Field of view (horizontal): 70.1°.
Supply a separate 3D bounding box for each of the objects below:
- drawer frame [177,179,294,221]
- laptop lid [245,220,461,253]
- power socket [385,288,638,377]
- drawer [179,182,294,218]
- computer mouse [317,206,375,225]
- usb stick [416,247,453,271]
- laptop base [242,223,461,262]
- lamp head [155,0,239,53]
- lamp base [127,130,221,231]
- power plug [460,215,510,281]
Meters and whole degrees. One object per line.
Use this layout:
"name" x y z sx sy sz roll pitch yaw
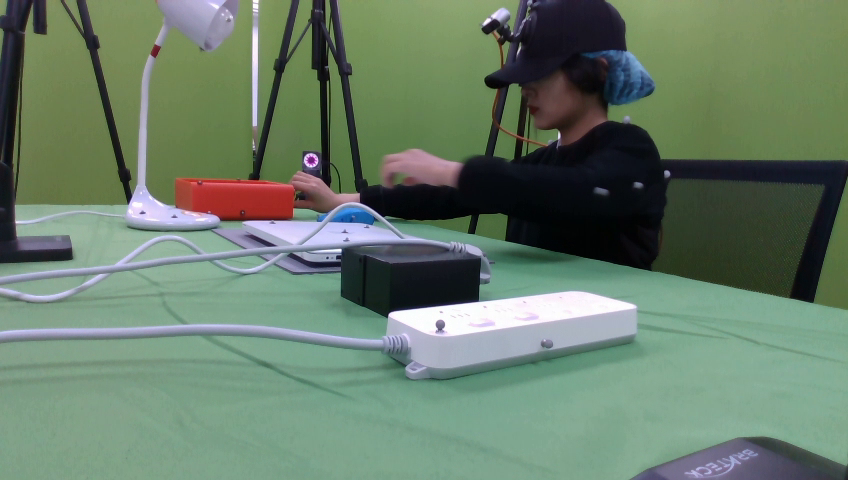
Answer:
"drawer frame" -0.422 -0.092 1.352 0.215 0.082 0.200 -3 10 -32
"laptop lid" -0.124 -0.009 0.945 0.243 0.013 0.355 1 7 -29
"power socket" 0.074 0.064 0.462 0.228 0.032 0.072 -3 8 -34
"drawer" -0.420 -0.091 1.354 0.213 0.073 0.193 -3 10 -31
"computer mouse" -0.163 -0.048 1.264 0.118 0.041 0.062 -7 13 -28
"usb stick" 0.010 0.024 0.755 0.027 0.021 0.059 38 -18 -16
"laptop base" -0.126 0.003 0.945 0.237 0.023 0.352 2 6 -31
"lamp head" -0.406 -0.402 1.059 0.123 0.112 0.112 25 6 -6
"lamp base" -0.469 -0.112 1.108 0.179 0.180 0.160 0 7 3
"power plug" 0.064 0.011 0.624 0.053 0.072 0.035 -4 39 -2
